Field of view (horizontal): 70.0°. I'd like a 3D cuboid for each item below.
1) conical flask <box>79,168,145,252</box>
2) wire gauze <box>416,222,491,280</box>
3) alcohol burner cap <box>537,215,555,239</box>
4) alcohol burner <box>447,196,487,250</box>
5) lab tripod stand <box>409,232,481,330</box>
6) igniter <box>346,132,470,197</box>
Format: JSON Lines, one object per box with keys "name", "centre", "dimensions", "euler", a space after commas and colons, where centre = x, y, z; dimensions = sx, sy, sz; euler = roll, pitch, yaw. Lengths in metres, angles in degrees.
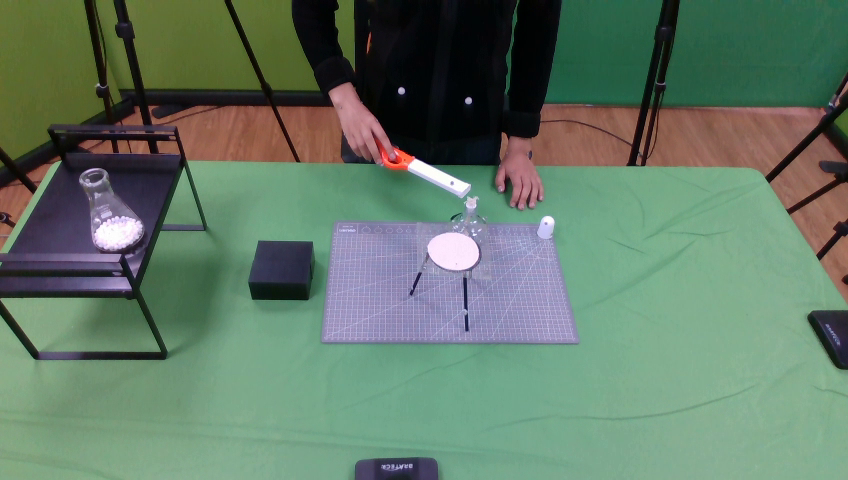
{"name": "conical flask", "centre": [-0.463, -0.048, 0.888], "dimensions": [0.075, 0.122, 0.075], "euler": [2, 46, -2]}
{"name": "wire gauze", "centre": [0.048, 0.014, 1.013], "dimensions": [0.125, 0.011, 0.120], "euler": [3, 47, -3]}
{"name": "alcohol burner cap", "centre": [0.249, -0.029, 1.228], "dimensions": [0.034, 0.048, 0.033], "euler": [1, 48, -1]}
{"name": "alcohol burner", "centre": [0.085, -0.039, 1.175], "dimensions": [0.078, 0.119, 0.077], "euler": [3, 45, -3]}
{"name": "lab tripod stand", "centre": [0.051, 0.064, 1.059], "dimensions": [0.148, 0.132, 0.147], "euler": [4, 47, -4]}
{"name": "igniter", "centre": [-0.036, -0.152, 1.188], "dimensions": [0.275, 0.025, 0.057], "euler": [28, 52, 20]}
